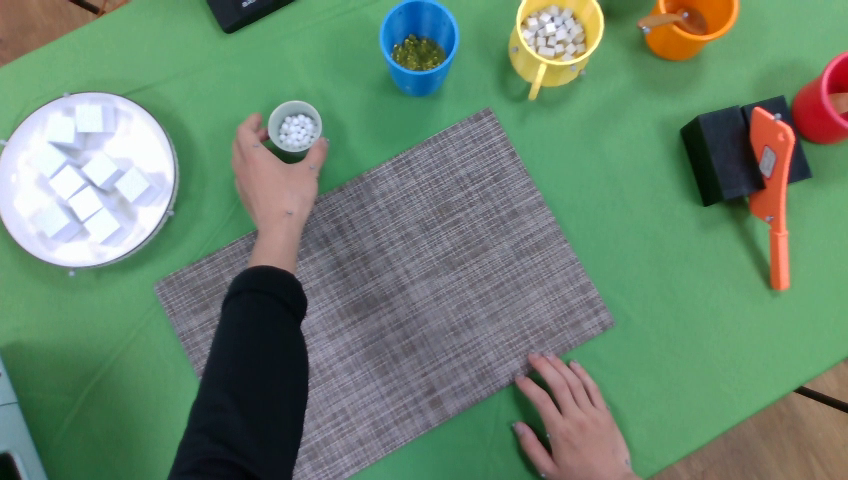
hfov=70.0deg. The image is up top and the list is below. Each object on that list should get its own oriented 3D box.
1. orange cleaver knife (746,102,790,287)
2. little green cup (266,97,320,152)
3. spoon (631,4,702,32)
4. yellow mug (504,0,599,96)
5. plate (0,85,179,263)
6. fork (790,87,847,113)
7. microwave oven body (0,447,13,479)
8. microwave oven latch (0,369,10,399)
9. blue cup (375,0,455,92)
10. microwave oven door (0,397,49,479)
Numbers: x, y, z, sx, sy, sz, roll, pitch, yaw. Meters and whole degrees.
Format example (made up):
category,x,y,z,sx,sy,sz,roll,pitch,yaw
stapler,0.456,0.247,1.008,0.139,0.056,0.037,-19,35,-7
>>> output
category,x,y,z,sx,sy,sz,roll,pitch,yaw
orange cleaver knife,0.387,-0.049,0.687,0.012,0.076,0.213,-14,113,0
little green cup,-0.152,-0.133,0.715,0.061,0.039,0.061,0,84,1
spoon,0.272,-0.250,0.677,0.021,0.194,0.041,-37,81,40
yellow mug,0.143,-0.231,0.714,0.100,0.064,0.130,19,84,2
plate,-0.386,-0.075,0.705,0.208,0.039,0.207,0,83,0
fork,0.525,-0.171,0.671,0.206,0.019,0.028,-6,78,41
microwave oven body,-0.539,0.348,0.538,0.326,0.260,0.440,-26,85,-4
microwave oven latch,-0.484,0.139,0.660,0.030,0.029,0.079,-22,85,-4
blue cup,-0.011,-0.215,0.693,0.093,0.100,0.092,0,84,-2
microwave oven door,-0.389,0.323,0.537,0.039,0.244,0.355,-26,84,-4
